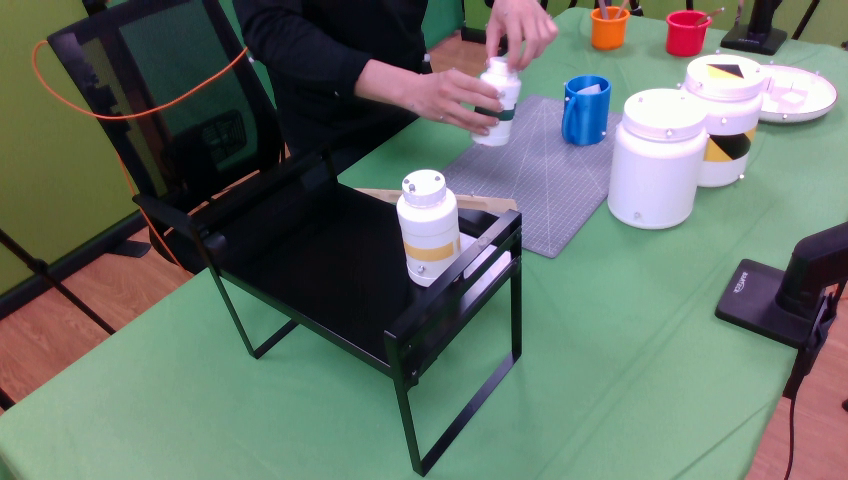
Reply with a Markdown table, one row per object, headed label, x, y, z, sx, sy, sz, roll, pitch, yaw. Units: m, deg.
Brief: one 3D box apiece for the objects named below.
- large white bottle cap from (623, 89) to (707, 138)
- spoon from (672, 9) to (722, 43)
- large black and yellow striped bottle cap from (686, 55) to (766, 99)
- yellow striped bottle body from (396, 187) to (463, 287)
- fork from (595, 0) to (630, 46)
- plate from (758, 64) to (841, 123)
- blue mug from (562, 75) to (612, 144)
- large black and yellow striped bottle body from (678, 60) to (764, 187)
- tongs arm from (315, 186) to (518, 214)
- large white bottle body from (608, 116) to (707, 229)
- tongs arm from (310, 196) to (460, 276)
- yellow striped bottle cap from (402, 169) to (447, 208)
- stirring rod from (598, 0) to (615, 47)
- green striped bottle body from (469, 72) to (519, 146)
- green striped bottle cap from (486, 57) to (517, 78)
| label | x | y | z | sx | sy | sz | roll | pitch | yaw |
| --- | --- | --- | --- | --- | --- | --- | --- | --- | --- |
| large white bottle cap | 0.352 | -0.187 | 0.886 | 0.115 | 0.018 | 0.114 | -4 | 41 | 4 |
| spoon | 0.606 | -0.476 | 1.345 | 0.042 | 0.021 | 0.193 | -6 | -3 | -2 |
| large black and yellow striped bottle cap | 0.474 | -0.258 | 0.952 | 0.115 | 0.019 | 0.114 | -5 | 41 | 5 |
| yellow striped bottle body | 0.006 | -0.013 | 0.638 | 0.063 | 0.121 | 0.062 | -5 | 41 | 4 |
| fork | 0.480 | -0.556 | 1.452 | 0.028 | 0.019 | 0.207 | 41 | 103 | 40 |
| plate | 0.694 | -0.283 | 1.189 | 0.207 | 0.039 | 0.206 | -4 | 40 | 4 |
| blue mug | 0.298 | -0.239 | 1.143 | 0.081 | 0.106 | 0.117 | 30 | 54 | 36 |
| large black and yellow striped bottle body | 0.482 | -0.196 | 1.007 | 0.131 | 0.185 | 0.130 | -4 | 41 | 4 |
| tongs arm | -0.028 | -0.060 | 0.988 | 0.382 | 0.027 | 0.051 | 9 | 45 | 36 |
| large white bottle body | 0.361 | -0.123 | 0.942 | 0.130 | 0.185 | 0.130 | -5 | 41 | 4 |
| tongs arm | -0.078 | -0.012 | 0.944 | 0.028 | 0.028 | 0.384 | -43 | 39 | -23 |
| yellow striped bottle cap | 0.000 | -0.052 | 0.604 | 0.044 | 0.019 | 0.044 | -5 | 43 | 5 |
| stirring rod | 0.437 | -0.551 | 1.462 | 0.014 | 0.006 | 0.175 | -11 | 83 | 1 |
| green striped bottle body | 0.107 | -0.208 | 0.916 | 0.063 | 0.119 | 0.063 | 6 | 32 | -3 |
| green striped bottle cap | 0.113 | -0.253 | 0.889 | 0.044 | 0.020 | 0.044 | 7 | 29 | -4 |
